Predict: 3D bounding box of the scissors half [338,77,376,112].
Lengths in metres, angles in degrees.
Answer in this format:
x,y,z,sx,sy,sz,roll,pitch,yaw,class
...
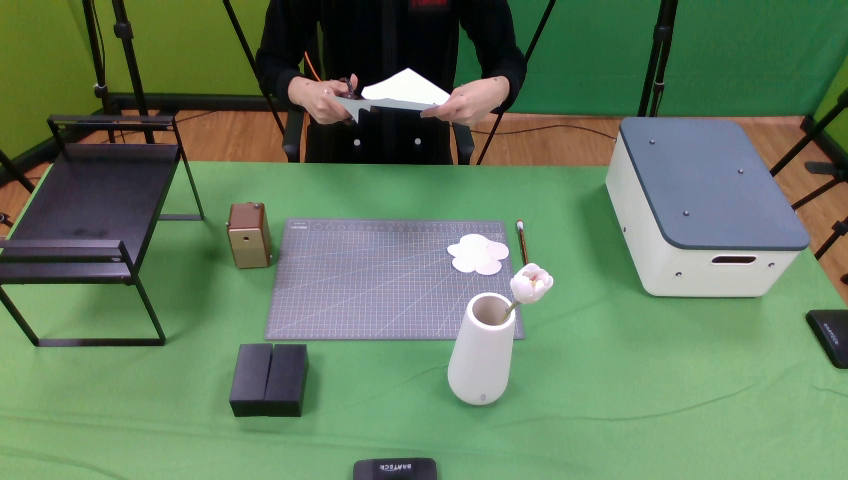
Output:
x,y,z,sx,sy,sz,roll,pitch,yaw,class
-0.118,-0.251,1.058,0.013,0.040,0.174,-12,33,-24,scissors half

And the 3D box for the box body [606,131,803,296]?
x,y,z,sx,sy,sz,roll,pitch,yaw,class
0.530,-0.067,1.204,0.254,0.161,0.361,0,46,-4,box body

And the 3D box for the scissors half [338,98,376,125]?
x,y,z,sx,sy,sz,roll,pitch,yaw,class
-0.118,-0.230,1.064,0.013,0.040,0.174,-7,5,-26,scissors half

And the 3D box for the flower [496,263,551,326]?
x,y,z,sx,sy,sz,roll,pitch,yaw,class
0.102,0.120,0.853,0.044,0.363,0.038,-1,64,-10,flower

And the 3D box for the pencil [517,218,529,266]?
x,y,z,sx,sy,sz,roll,pitch,yaw,class
0.200,0.028,1.196,0.012,0.012,0.193,1,48,-3,pencil

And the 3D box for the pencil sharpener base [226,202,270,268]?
x,y,z,sx,sy,sz,roll,pitch,yaw,class
-0.323,-0.010,1.123,0.061,0.107,0.076,-3,46,-7,pencil sharpener base

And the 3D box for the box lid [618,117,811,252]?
x,y,z,sx,sy,sz,roll,pitch,yaw,class
0.534,-0.117,1.149,0.263,0.015,0.369,0,47,-3,box lid

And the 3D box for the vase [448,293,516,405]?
x,y,z,sx,sy,sz,roll,pitch,yaw,class
0.091,0.169,0.921,0.098,0.201,0.097,3,47,-3,vase

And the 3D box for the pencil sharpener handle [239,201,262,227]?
x,y,z,sx,sy,sz,roll,pitch,yaw,class
-0.325,-0.055,1.150,0.036,0.068,0.030,-13,46,4,pencil sharpener handle
